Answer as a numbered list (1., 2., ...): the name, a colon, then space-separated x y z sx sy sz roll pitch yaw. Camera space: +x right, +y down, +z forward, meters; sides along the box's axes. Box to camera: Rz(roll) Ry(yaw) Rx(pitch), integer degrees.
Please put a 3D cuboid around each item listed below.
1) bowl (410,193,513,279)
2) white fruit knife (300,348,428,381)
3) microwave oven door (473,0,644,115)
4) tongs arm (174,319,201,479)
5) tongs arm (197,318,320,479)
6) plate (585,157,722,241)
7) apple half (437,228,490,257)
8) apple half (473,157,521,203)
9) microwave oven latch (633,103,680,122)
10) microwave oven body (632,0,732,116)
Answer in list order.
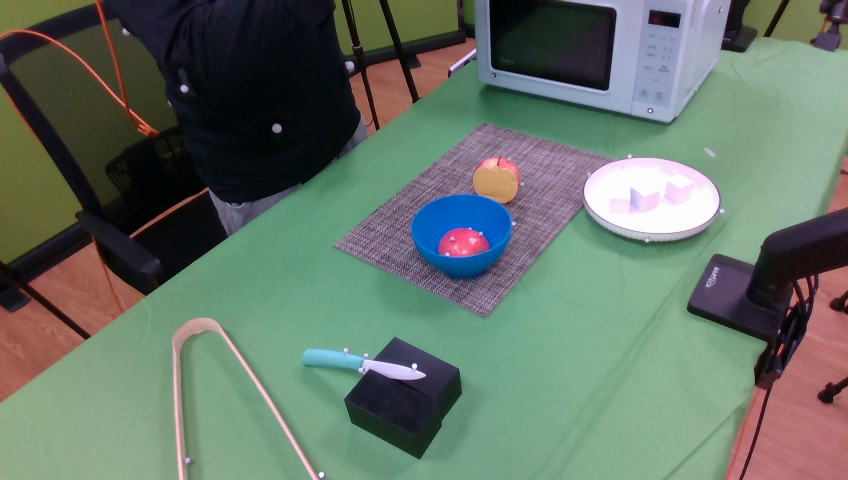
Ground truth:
1. bowl: 0.058 0.005 0.905 0.151 0.077 0.150 -4 40 4
2. white fruit knife: -0.080 0.154 0.748 0.206 0.027 0.016 1 20 34
3. microwave oven door: 0.257 -0.396 1.199 0.353 0.245 0.039 21 48 29
4. tongs arm: -0.272 0.234 0.723 0.051 0.026 0.381 -19 40 -15
5. tongs arm: -0.200 0.207 0.751 0.028 0.028 0.384 -31 45 -22
6. plate: 0.367 -0.063 0.979 0.207 0.039 0.206 -4 40 4
7. apple half: 0.056 0.002 0.901 0.081 0.033 0.081 -3 41 3
8. apple half: 0.128 -0.107 1.030 0.080 0.075 0.053 4 38 19
9. microwave oven latch: 0.444 -0.249 1.157 0.078 0.029 0.030 21 48 30
10. microwave oven body: 0.377 -0.462 1.267 0.438 0.261 0.327 21 48 30
